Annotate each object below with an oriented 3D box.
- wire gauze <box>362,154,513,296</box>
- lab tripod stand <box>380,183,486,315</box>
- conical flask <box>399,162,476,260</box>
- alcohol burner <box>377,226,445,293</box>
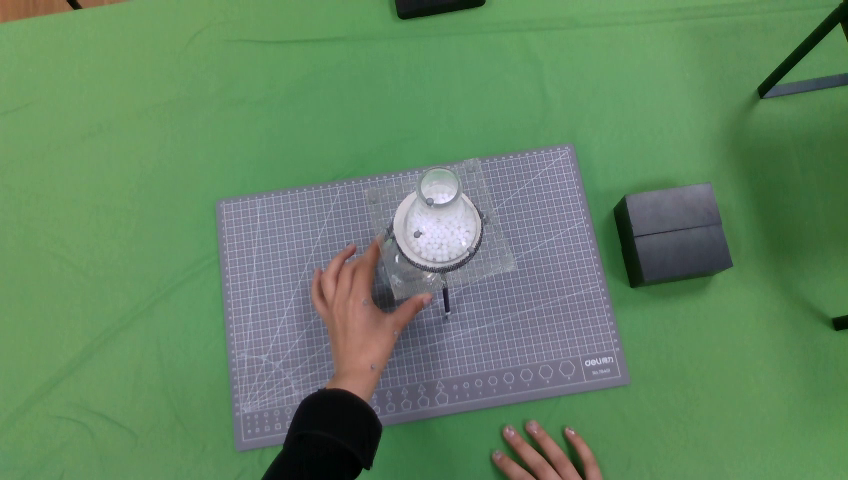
[{"bbox_3d":[0.013,-0.016,0.598,0.125,0.011,0.121,-14,78,-6],"label":"wire gauze"},{"bbox_3d":[0.016,-0.002,0.662,0.148,0.132,0.147,0,74,1],"label":"lab tripod stand"},{"bbox_3d":[0.012,-0.030,0.540,0.075,0.122,0.075,0,75,1],"label":"conical flask"},{"bbox_3d":[-0.015,0.017,0.668,0.078,0.119,0.077,0,74,-1],"label":"alcohol burner"}]
